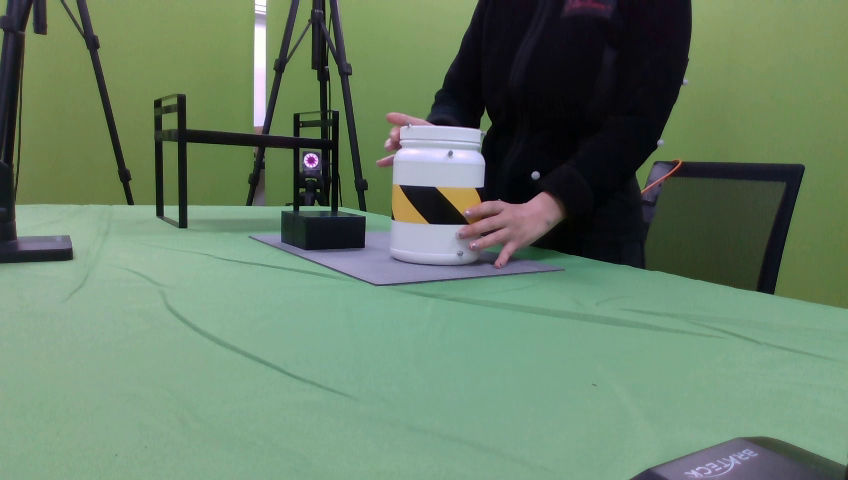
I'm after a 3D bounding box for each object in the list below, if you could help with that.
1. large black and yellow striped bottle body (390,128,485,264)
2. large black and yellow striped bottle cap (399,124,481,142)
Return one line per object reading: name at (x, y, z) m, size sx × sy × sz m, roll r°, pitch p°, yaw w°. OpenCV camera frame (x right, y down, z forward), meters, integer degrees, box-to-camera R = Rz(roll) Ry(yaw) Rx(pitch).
large black and yellow striped bottle body at (0.019, -0.065, 0.852) m, size 0.131 × 0.184 × 0.130 m, roll 2°, pitch 7°, yaw 0°
large black and yellow striped bottle cap at (0.022, -0.148, 0.843) m, size 0.115 × 0.019 × 0.115 m, roll 3°, pitch 8°, yaw 0°
